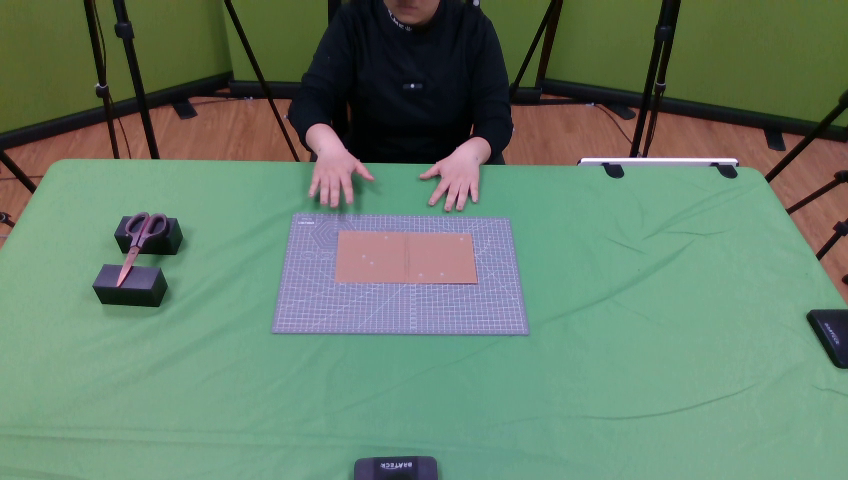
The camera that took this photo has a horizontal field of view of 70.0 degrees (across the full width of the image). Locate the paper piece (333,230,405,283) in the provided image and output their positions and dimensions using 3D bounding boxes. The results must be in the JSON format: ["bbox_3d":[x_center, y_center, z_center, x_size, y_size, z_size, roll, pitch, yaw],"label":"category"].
[{"bbox_3d":[-0.104,0.031,1.165,0.135,0.004,0.135,2,47,-4],"label":"paper piece"}]

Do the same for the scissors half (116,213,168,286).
[{"bbox_3d":[-0.504,0.015,1.082,0.040,0.013,0.174,10,48,5],"label":"scissors half"}]

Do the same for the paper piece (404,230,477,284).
[{"bbox_3d":[0.030,0.033,1.174,0.138,0.009,0.135,2,49,-3],"label":"paper piece"}]

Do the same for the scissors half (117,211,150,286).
[{"bbox_3d":[-0.524,0.013,1.080,0.040,0.013,0.174,1,48,-11],"label":"scissors half"}]
